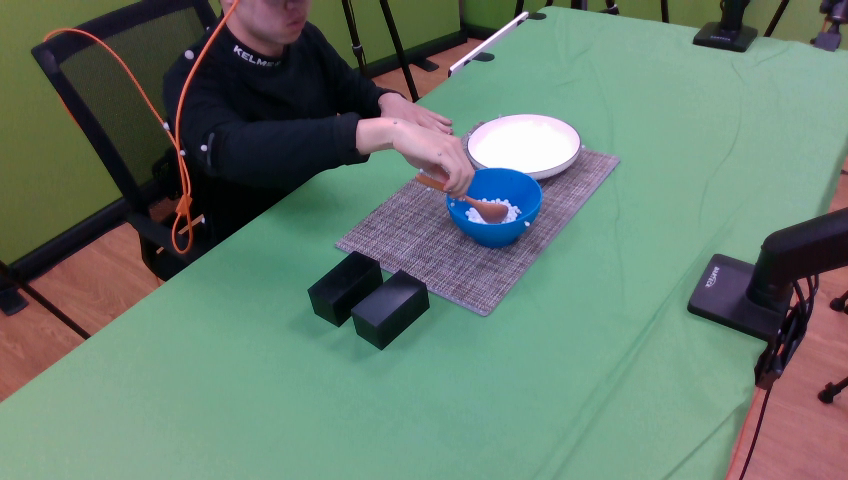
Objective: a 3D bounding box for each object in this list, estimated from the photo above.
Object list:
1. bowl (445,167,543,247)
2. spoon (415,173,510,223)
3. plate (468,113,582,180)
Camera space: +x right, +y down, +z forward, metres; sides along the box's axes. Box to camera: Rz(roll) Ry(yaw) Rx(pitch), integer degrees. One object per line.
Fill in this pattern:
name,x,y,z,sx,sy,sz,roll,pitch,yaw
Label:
bowl,0.111,-0.042,0.952,0.151,0.077,0.150,-4,41,4
spoon,0.059,-0.063,0.898,0.195,0.041,0.021,21,33,-35
plate,0.186,-0.169,1.122,0.207,0.039,0.206,-4,40,4
